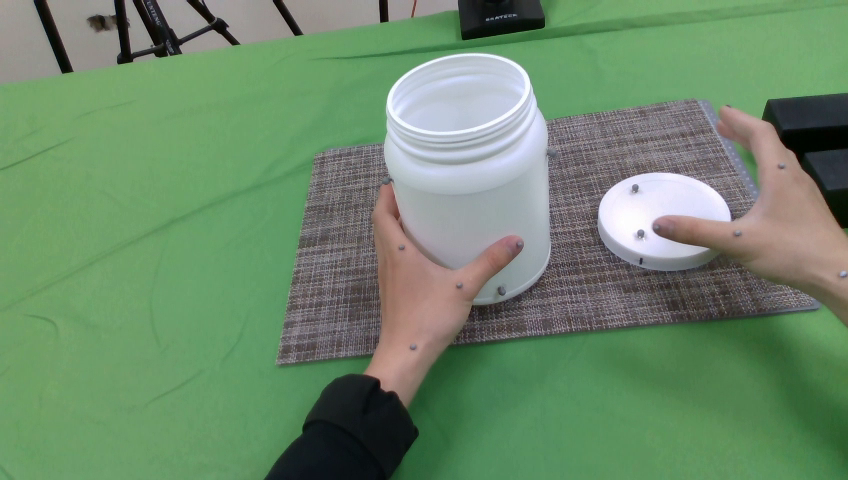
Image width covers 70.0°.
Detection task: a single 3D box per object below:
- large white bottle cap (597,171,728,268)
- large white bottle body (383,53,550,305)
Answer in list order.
[{"bbox_3d":[0.220,-0.021,0.564,0.115,0.018,0.113,-6,46,7],"label":"large white bottle cap"},{"bbox_3d":[0.039,-0.048,0.512,0.130,0.186,0.129,-7,45,7],"label":"large white bottle body"}]
